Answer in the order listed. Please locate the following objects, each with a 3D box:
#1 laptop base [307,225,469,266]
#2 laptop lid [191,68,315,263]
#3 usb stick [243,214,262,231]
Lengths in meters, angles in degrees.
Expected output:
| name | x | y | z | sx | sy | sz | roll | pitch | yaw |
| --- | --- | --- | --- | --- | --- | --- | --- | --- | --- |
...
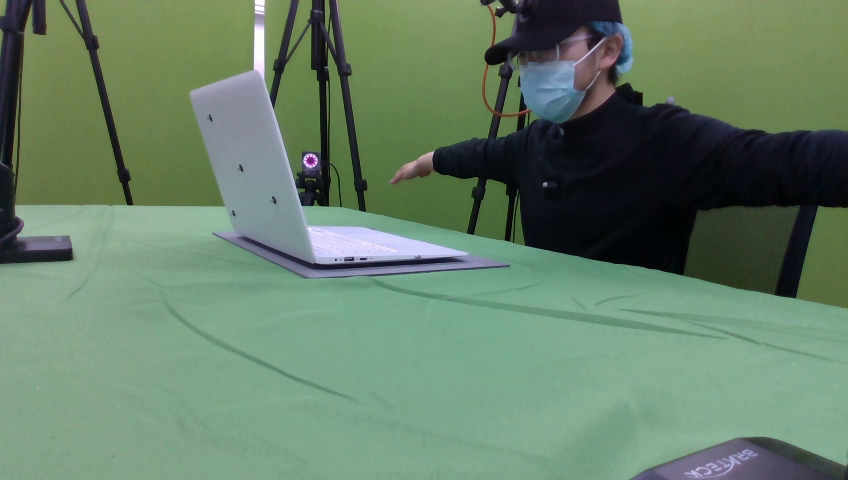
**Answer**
| name | x | y | z | sx | sy | sz | roll | pitch | yaw |
| --- | --- | --- | --- | --- | --- | --- | --- | --- | --- |
| laptop base | -0.125 | 0.006 | 0.936 | 0.237 | 0.023 | 0.352 | 1 | 7 | -33 |
| laptop lid | -0.250 | -0.102 | 0.838 | 0.013 | 0.242 | 0.355 | -22 | 20 | -29 |
| usb stick | -0.298 | -0.030 | 1.053 | 0.021 | 0.027 | 0.059 | 0 | 10 | -31 |
